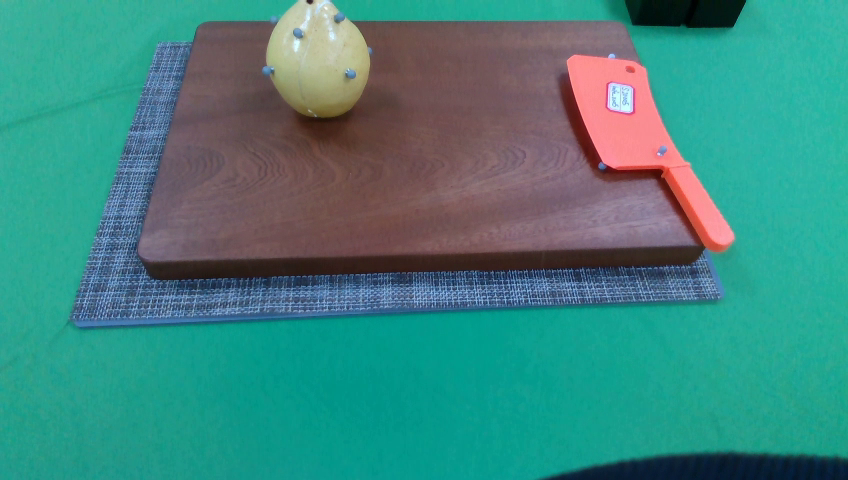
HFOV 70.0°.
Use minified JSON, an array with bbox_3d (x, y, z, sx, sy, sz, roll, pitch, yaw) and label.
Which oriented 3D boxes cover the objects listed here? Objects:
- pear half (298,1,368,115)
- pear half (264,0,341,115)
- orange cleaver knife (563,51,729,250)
[{"bbox_3d":[-0.063,-0.133,0.458,0.031,0.089,0.070,22,51,14],"label":"pear half"},{"bbox_3d":[-0.093,-0.155,0.459,0.056,0.111,0.076,24,51,14],"label":"pear half"},{"bbox_3d":[0.167,-0.079,0.475,0.077,0.012,0.209,-6,57,-11],"label":"orange cleaver knife"}]
